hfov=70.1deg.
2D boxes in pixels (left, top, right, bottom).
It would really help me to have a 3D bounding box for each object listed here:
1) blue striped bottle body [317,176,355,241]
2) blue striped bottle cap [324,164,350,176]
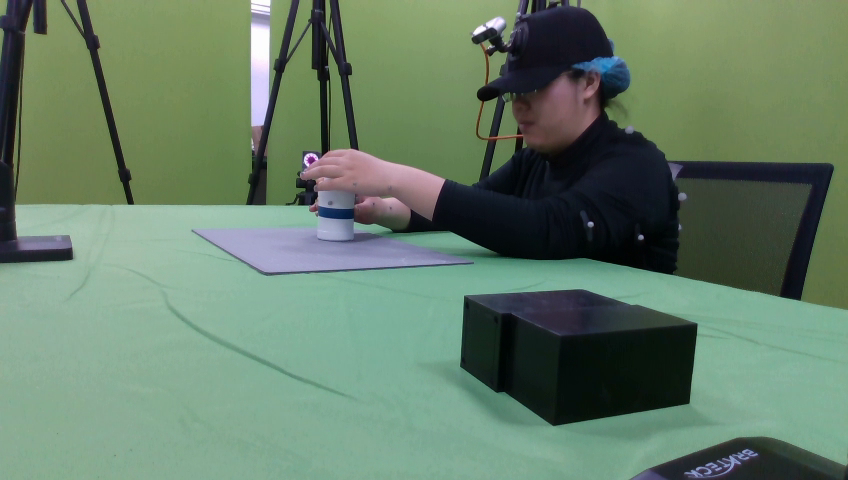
[{"bbox_3d":[-0.149,-0.061,1.024,0.063,0.120,0.063,3,8,0],"label":"blue striped bottle body"},{"bbox_3d":[-0.146,-0.117,1.016,0.044,0.020,0.044,2,5,0],"label":"blue striped bottle cap"}]
